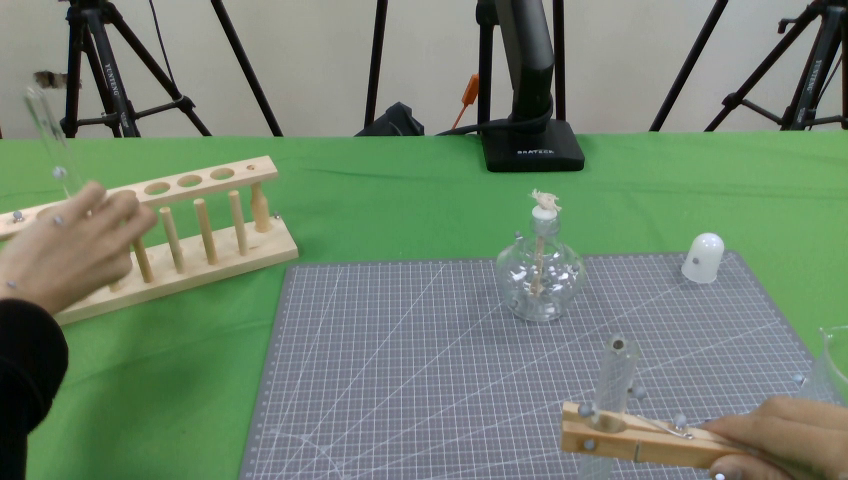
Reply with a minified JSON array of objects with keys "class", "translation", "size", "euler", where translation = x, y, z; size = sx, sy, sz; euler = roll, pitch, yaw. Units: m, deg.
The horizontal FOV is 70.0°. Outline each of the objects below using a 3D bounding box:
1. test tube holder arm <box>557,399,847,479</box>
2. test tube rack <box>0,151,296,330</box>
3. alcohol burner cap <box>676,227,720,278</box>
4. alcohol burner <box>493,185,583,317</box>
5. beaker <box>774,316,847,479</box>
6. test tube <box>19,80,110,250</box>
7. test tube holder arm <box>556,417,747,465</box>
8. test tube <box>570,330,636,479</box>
[{"class":"test tube holder arm","translation":[0.155,0.100,0.294],"size":[0.178,0.015,0.013],"euler":[7,33,12]},{"class":"test tube rack","translation":[-0.251,-0.005,0.561],"size":[0.243,0.086,0.066],"euler":[-17,41,-21]},{"class":"alcohol burner cap","translation":[0.261,0.009,0.573],"size":[0.034,0.048,0.033],"euler":[0,38,0]},{"class":"alcohol burner","translation":[0.098,0.007,0.517],"size":[0.078,0.120,0.077],"euler":[-1,36,1]},{"class":"beaker","translation":[0.280,0.109,0.397],"size":[0.074,0.101,0.083],"euler":[-20,41,-24]},{"class":"test tube","translation":[-0.281,-0.054,0.478],"size":[0.017,0.152,0.017],"euler":[-1,38,1]},{"class":"test tube holder arm","translation":[0.110,0.099,0.297],"size":[0.088,0.015,0.010],"euler":[4,32,6]},{"class":"test tube","translation":[0.086,0.113,0.313],"size":[0.017,0.151,0.017],"euler":[3,25,-1]}]
